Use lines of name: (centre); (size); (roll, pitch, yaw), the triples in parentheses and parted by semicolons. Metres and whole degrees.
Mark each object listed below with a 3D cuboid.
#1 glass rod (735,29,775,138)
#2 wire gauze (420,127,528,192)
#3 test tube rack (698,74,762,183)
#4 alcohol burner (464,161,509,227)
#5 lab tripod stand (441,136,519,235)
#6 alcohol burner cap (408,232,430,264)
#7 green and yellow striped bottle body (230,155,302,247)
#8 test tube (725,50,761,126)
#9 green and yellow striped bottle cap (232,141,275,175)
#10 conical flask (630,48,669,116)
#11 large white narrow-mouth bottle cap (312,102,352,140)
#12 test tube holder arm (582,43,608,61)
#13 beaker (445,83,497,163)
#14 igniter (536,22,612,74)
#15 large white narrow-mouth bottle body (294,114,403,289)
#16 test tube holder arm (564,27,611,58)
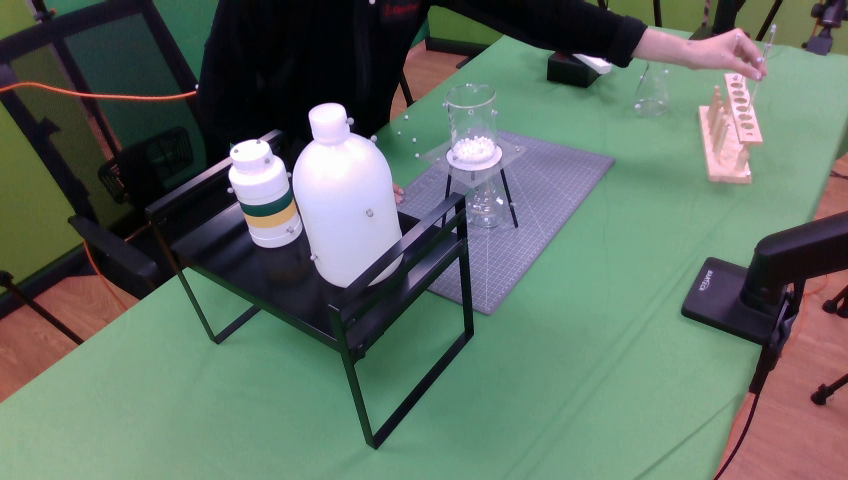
glass rod: (0.541, -0.250, 0.993); (0.008, 0.200, 0.008); (-3, 45, 4)
wire gauze: (0.076, -0.131, 0.927); (0.122, 0.011, 0.124); (-34, 49, -25)
test tube rack: (0.547, -0.208, 1.094); (0.066, 0.085, 0.242); (6, 42, 15)
alcohol burner: (0.102, -0.080, 0.982); (0.078, 0.119, 0.077); (-4, 43, 4)
lab tripod stand: (0.083, -0.086, 0.976); (0.148, 0.132, 0.147); (-4, 43, 4)
alcohol burner cap: (-0.010, 0.010, 0.947); (0.034, 0.048, 0.033); (-5, 41, 5)
green and yellow striped bottle body: (-0.188, -0.055, 0.714); (0.063, 0.120, 0.063); (-4, 41, 4)
test tube: (0.570, -0.269, 1.085); (0.017, 0.151, 0.017); (-1, 45, 1)
green and yellow striped bottle cap: (-0.192, -0.093, 0.680); (0.045, 0.020, 0.045); (-5, 39, 5)
conical flask: (0.457, -0.316, 1.205); (0.075, 0.122, 0.075); (-4, 41, 4)
large white narrow-mouth bottle cap: (-0.088, -0.114, 0.579); (0.038, 0.024, 0.037); (-3, 39, 3)
test tube holder arm: (0.379, -0.420, 1.341); (0.010, 0.015, 0.087); (-40, 41, 11)
beaker: (0.073, -0.174, 0.904); (0.074, 0.101, 0.084); (3, 41, 13)
igniter: (0.330, -0.438, 1.366); (0.057, 0.025, 0.274); (-11, 41, -19)
large white narrow-mouth bottle body: (-0.082, -0.047, 0.634); (0.102, 0.195, 0.101); (-4, 39, 3)
test tube holder arm: (0.369, -0.450, 1.373); (0.013, 0.015, 0.177); (-40, 41, 10)
